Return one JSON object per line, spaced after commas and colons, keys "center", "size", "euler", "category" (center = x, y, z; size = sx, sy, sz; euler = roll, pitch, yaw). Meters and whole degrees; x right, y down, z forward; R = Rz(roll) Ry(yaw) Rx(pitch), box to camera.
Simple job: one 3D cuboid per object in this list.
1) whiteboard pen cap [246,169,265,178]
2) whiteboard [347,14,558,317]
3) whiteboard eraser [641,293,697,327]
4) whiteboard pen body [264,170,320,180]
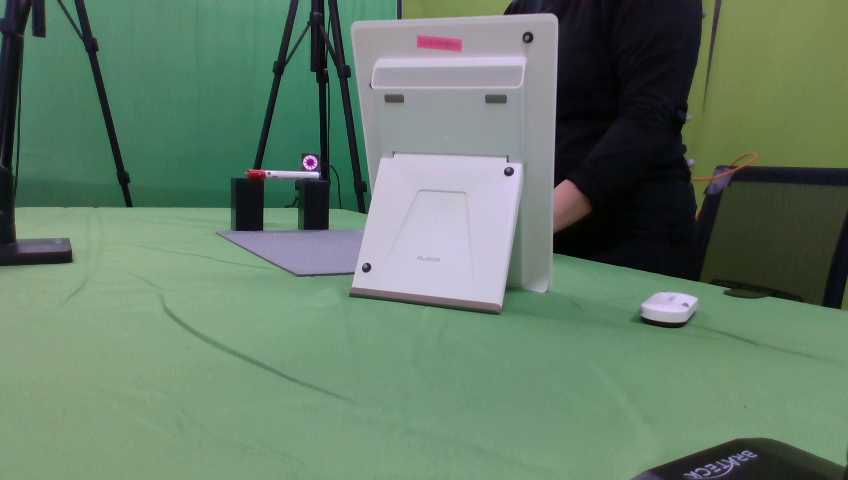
{"center": [-0.318, -0.125, 1.143], "size": [0.032, 0.017, 0.017], "euler": [-1, 8, -35], "category": "whiteboard pen cap"}
{"center": [0.012, -0.056, 0.609], "size": [0.216, 0.305, 0.144], "euler": [5, 27, 20], "category": "whiteboard"}
{"center": [0.240, 0.066, 0.590], "size": [0.041, 0.019, 0.102], "euler": [6, 7, 31], "category": "whiteboard eraser"}
{"center": [-0.269, -0.127, 1.179], "size": [0.141, 0.017, 0.017], "euler": [-2, 8, -36], "category": "whiteboard pen body"}
